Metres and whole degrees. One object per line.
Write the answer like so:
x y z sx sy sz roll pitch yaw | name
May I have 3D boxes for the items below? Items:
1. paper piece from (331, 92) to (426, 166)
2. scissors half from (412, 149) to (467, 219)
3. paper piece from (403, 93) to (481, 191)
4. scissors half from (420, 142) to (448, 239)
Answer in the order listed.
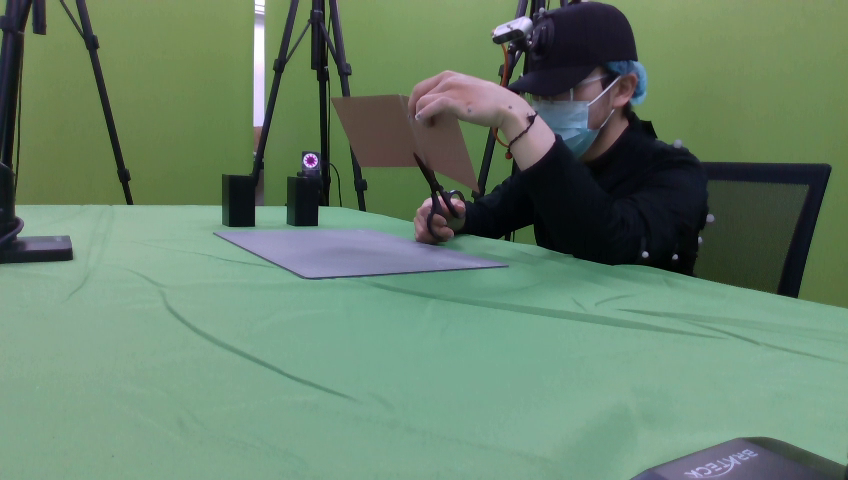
-0.072 -0.175 0.969 0.135 0.136 0.004 5 44 31 | paper piece
0.027 -0.094 1.011 0.013 0.040 0.176 13 -23 44 | scissors half
0.026 -0.145 0.888 0.008 0.136 0.137 -39 41 -14 | paper piece
0.012 -0.080 1.001 0.040 0.175 0.012 -29 30 -33 | scissors half
